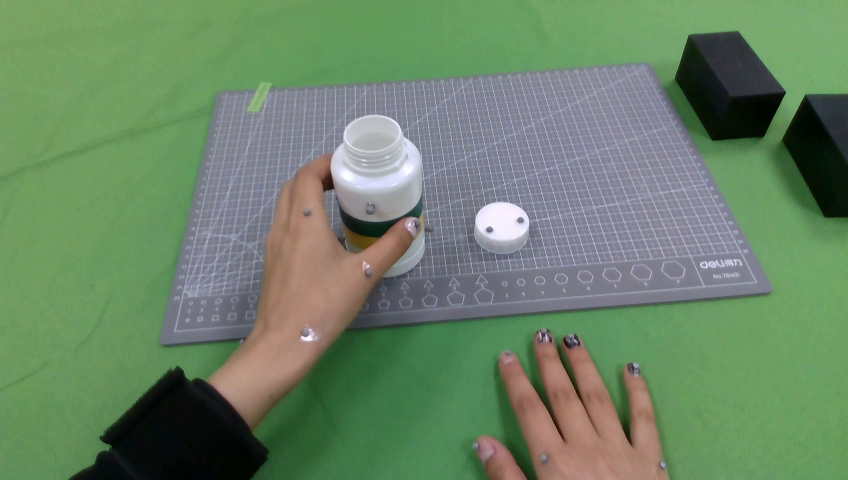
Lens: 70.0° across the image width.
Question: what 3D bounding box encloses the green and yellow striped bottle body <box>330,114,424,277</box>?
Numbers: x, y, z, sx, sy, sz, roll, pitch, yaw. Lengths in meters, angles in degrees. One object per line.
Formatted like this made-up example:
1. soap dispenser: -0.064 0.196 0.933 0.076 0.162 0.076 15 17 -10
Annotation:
1. green and yellow striped bottle body: -0.032 -0.032 0.438 0.063 0.121 0.062 -1 50 1

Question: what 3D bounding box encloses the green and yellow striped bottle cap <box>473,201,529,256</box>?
1. green and yellow striped bottle cap: 0.062 -0.010 0.486 0.045 0.020 0.045 0 52 1
